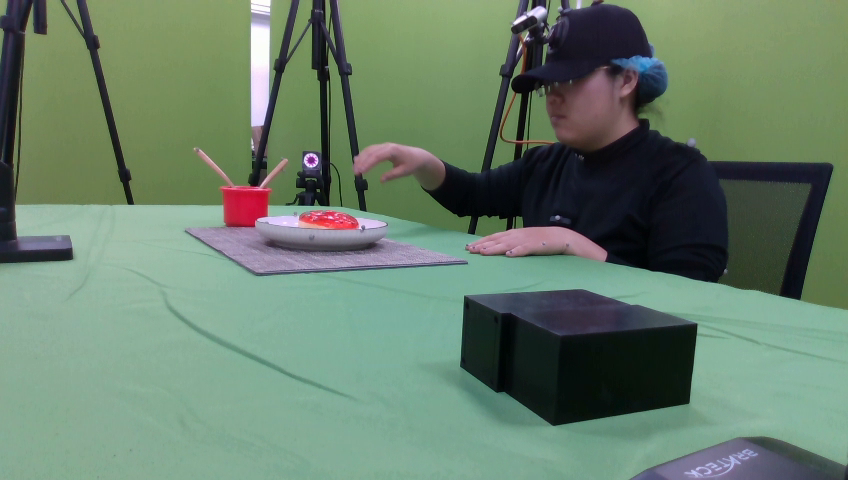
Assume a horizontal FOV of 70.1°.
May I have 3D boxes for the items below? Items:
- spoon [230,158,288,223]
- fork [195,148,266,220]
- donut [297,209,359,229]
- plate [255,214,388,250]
[{"bbox_3d":[-0.322,-0.101,1.206,0.041,0.022,0.194,13,55,22],"label":"spoon"},{"bbox_3d":[-0.386,-0.110,1.199,0.028,0.207,0.018,-38,-6,-39],"label":"fork"},{"bbox_3d":[-0.151,-0.023,0.955,0.099,0.048,0.099,5,7,0],"label":"donut"},{"bbox_3d":[-0.161,-0.013,0.961,0.209,0.038,0.209,2,7,0],"label":"plate"}]
